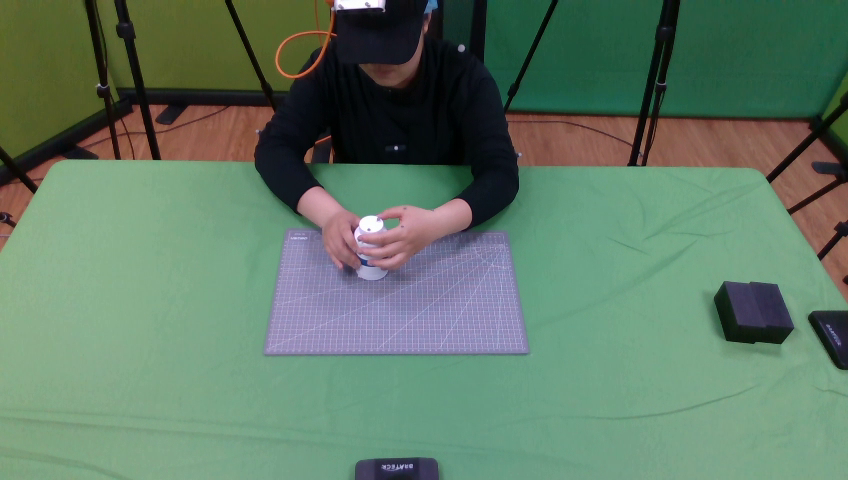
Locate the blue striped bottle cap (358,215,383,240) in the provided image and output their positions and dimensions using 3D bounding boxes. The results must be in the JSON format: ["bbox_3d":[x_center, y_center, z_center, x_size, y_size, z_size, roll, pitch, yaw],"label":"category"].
[{"bbox_3d":[-0.095,-0.023,1.069,0.044,0.021,0.044,4,46,-4],"label":"blue striped bottle cap"}]

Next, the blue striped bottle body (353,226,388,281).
[{"bbox_3d":[-0.097,0.013,1.106,0.063,0.121,0.062,1,44,-1],"label":"blue striped bottle body"}]
